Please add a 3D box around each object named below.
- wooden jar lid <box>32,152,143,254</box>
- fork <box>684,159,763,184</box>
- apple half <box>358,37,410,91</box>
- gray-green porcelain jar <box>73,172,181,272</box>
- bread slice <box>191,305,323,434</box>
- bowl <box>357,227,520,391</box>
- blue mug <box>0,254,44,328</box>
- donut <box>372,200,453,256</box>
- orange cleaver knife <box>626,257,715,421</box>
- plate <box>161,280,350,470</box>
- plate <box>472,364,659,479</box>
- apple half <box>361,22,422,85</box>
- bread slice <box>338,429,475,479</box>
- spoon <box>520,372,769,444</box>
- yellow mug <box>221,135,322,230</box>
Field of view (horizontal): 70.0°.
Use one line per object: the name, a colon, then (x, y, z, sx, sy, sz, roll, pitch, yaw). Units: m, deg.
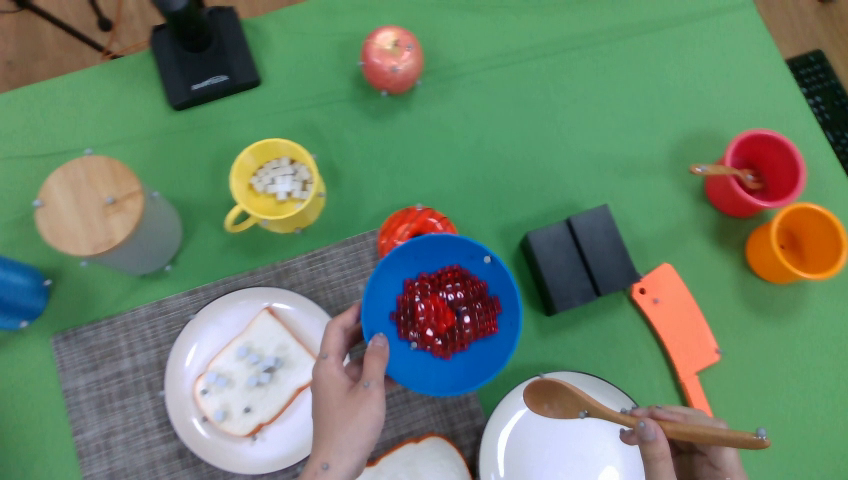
wooden jar lid: (-0.342, -0.037, 0.622, 0.108, 0.021, 0.108, 0, 76, -1)
fork: (0.353, -0.083, 0.709, 0.208, 0.018, 0.028, -1, 72, -45)
apple half: (-0.057, -0.210, 0.760, 0.081, 0.081, 0.032, 36, 74, 7)
gray-green porcelain jar: (-0.343, -0.022, 0.682, 0.106, 0.127, 0.105, 0, 77, -2)
bread slice: (-0.196, 0.155, 0.690, 0.104, 0.019, 0.131, 43, 79, 7)
bowl: (0.013, 0.068, 0.592, 0.151, 0.077, 0.151, 0, 82, -2)
blue mug: (-0.504, 0.063, 0.668, 0.082, 0.106, 0.116, 44, 80, 8)
donut: (-0.012, 0.000, 0.727, 0.099, 0.048, 0.098, 1, 79, -2)
orange cleaver knife: (0.310, 0.124, 0.727, 0.077, 0.012, 0.210, -17, 77, -13)
plate: (-0.187, 0.150, 0.691, 0.208, 0.039, 0.206, 0, 78, -2)
plate: (0.157, 0.246, 0.685, 0.209, 0.038, 0.208, 0, 78, -1)
apple half: (-0.034, -0.240, 0.769, 0.080, 0.075, 0.053, 35, 73, 10)
bread slice: (-0.008, 0.268, 0.647, 0.134, 0.018, 0.106, -23, 75, -27)
spoon: (0.154, 0.130, 0.457, 0.021, 0.192, 0.042, -31, 111, -36)
yellow mug: (-0.189, -0.057, 0.727, 0.131, 0.064, 0.099, -43, 82, -9)
